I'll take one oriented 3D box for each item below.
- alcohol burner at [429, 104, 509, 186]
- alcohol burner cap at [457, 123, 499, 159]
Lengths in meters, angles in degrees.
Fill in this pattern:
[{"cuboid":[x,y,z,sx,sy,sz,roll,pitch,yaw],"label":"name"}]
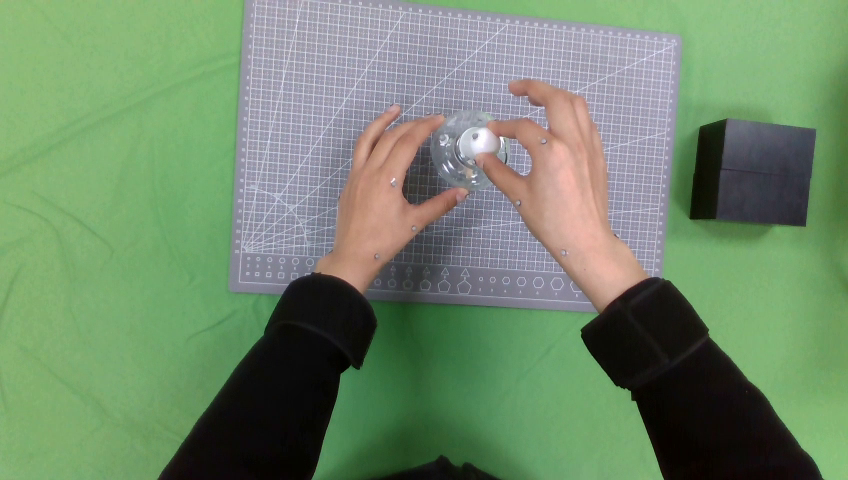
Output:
[{"cuboid":[0.046,-0.090,0.567,0.078,0.119,0.078,-1,93,-9],"label":"alcohol burner"},{"cuboid":[0.049,-0.087,0.533,0.034,0.047,0.034,-1,98,-8],"label":"alcohol burner cap"}]
